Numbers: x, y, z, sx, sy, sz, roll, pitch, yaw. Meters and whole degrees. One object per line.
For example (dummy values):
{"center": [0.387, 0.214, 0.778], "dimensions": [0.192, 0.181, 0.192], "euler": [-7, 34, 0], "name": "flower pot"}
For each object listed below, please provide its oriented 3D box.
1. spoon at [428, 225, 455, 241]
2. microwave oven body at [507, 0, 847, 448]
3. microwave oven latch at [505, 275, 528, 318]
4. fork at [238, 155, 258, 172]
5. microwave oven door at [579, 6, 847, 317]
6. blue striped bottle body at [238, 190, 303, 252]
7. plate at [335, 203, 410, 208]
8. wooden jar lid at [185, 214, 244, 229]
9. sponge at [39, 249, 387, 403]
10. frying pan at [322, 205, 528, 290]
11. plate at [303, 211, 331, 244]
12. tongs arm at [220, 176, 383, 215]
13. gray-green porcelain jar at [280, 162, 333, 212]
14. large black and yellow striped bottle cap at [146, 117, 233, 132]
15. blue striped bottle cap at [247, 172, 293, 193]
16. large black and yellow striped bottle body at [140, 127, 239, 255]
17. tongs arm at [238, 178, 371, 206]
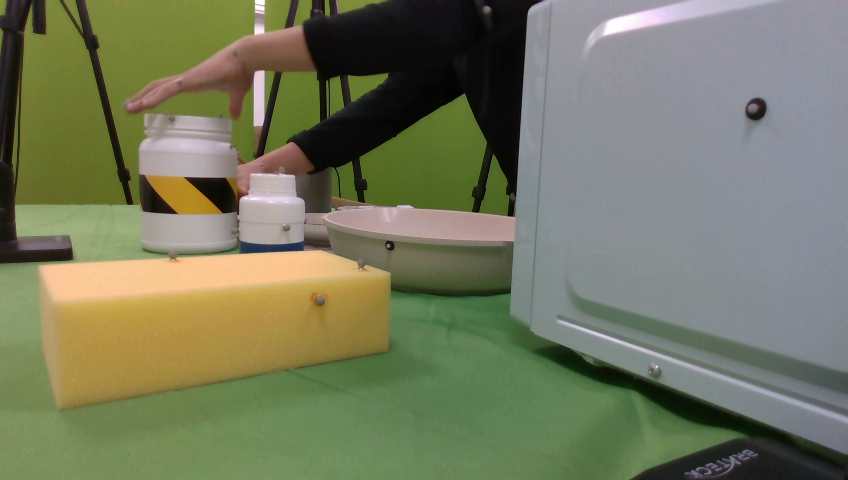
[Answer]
{"center": [0.025, -0.019, 1.124], "dimensions": [0.042, 0.021, 0.193], "euler": [-18, 10, -4], "name": "spoon"}
{"center": [0.331, -0.042, 0.425], "dimensions": [0.444, 0.260, 0.324], "euler": [-2, 8, -31], "name": "microwave oven body"}
{"center": [0.100, 0.041, 0.472], "dimensions": [0.079, 0.029, 0.030], "euler": [-2, 8, -30], "name": "microwave oven latch"}
{"center": [-0.396, -0.143, 1.486], "dimensions": [0.028, 0.018, 0.208], "euler": [20, -26, 45], "name": "fork"}
{"center": [0.294, -0.067, 0.570], "dimensions": [0.358, 0.243, 0.039], "euler": [-3, 9, -31], "name": "microwave oven door"}
{"center": [-0.153, -0.007, 0.605], "dimensions": [0.063, 0.120, 0.063], "euler": [2, 7, 0], "name": "blue striped bottle body"}
{"center": [-0.089, -0.053, 1.309], "dimensions": [0.208, 0.039, 0.207], "euler": [2, 8, 0], "name": "plate"}
{"center": [-0.404, -0.037, 1.169], "dimensions": [0.108, 0.020, 0.108], "euler": [3, 7, 0], "name": "wooden jar lid"}
{"center": [-0.142, 0.047, 0.420], "dimensions": [0.208, 0.061, 0.117], "euler": [-3, 8, -36], "name": "sponge"}
{"center": [0.110, -0.018, 0.800], "dimensions": [0.490, 0.102, 0.305], "euler": [-12, 16, -30], "name": "frying pan"}
{"center": [-0.139, -0.022, 1.020], "dimensions": [0.209, 0.038, 0.209], "euler": [2, 7, 0], "name": "plate"}
{"center": [-0.285, -0.104, 1.445], "dimensions": [0.389, 0.027, 0.028], "euler": [9, -4, -23], "name": "tongs arm"}
{"center": [-0.238, -0.092, 1.221], "dimensions": [0.106, 0.126, 0.106], "euler": [2, 8, 0], "name": "gray-green porcelain jar"}
{"center": [-0.332, -0.164, 0.861], "dimensions": [0.115, 0.019, 0.115], "euler": [2, 11, 0], "name": "large black and yellow striped bottle cap"}
{"center": [-0.152, -0.057, 0.598], "dimensions": [0.044, 0.020, 0.044], "euler": [3, 6, 0], "name": "blue striped bottle cap"}
{"center": [-0.336, -0.078, 0.871], "dimensions": [0.131, 0.184, 0.130], "euler": [2, 8, 0], "name": "large black and yellow striped bottle body"}
{"center": [-0.241, -0.095, 1.374], "dimensions": [0.387, 0.026, 0.050], "euler": [9, 0, -37], "name": "tongs arm"}
